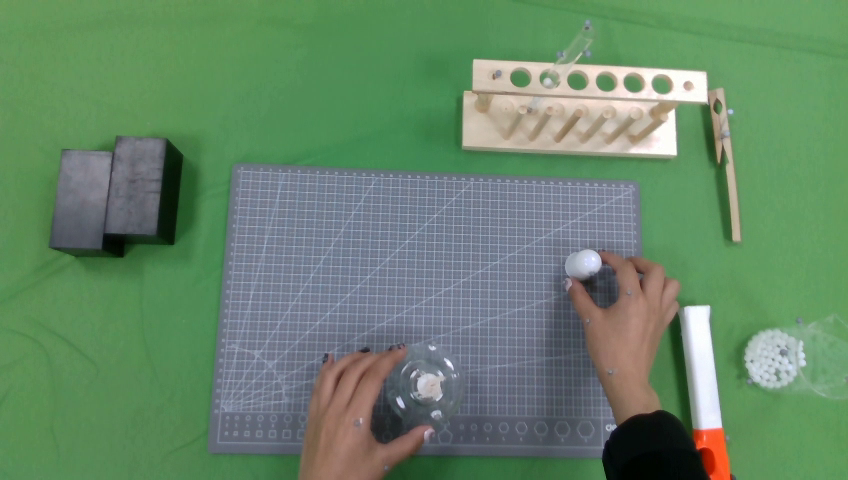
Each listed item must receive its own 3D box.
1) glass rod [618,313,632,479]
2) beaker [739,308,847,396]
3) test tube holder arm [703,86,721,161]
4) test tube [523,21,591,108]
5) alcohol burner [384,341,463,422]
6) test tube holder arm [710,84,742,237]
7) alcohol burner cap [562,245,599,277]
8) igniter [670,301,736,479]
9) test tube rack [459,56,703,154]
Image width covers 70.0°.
[{"bbox_3d":[0.211,0.177,0.636,0.008,0.008,0.199,1,80,-4],"label":"glass rod"},{"bbox_3d":[0.379,0.113,0.617,0.074,0.100,0.083,15,78,-1],"label":"beaker"},{"bbox_3d":[0.334,-0.135,0.700,0.010,0.015,0.087,-11,80,30],"label":"test tube holder arm"},{"bbox_3d":[0.128,-0.170,0.605,0.017,0.150,0.017,2,76,-9],"label":"test tube"},{"bbox_3d":[0.001,0.134,0.575,0.078,0.119,0.077,1,77,-3],"label":"alcohol burner"},{"bbox_3d":[0.343,-0.091,0.690,0.013,0.015,0.177,-11,79,30],"label":"test tube holder arm"},{"bbox_3d":[0.169,0.021,0.644,0.034,0.048,0.033,1,80,-5],"label":"alcohol burner cap"},{"bbox_3d":[0.291,0.202,0.631,0.057,0.025,0.275,-1,80,-14],"label":"igniter"},{"bbox_3d":[0.163,-0.142,0.653,0.243,0.085,0.066,2,79,-4],"label":"test tube rack"}]
